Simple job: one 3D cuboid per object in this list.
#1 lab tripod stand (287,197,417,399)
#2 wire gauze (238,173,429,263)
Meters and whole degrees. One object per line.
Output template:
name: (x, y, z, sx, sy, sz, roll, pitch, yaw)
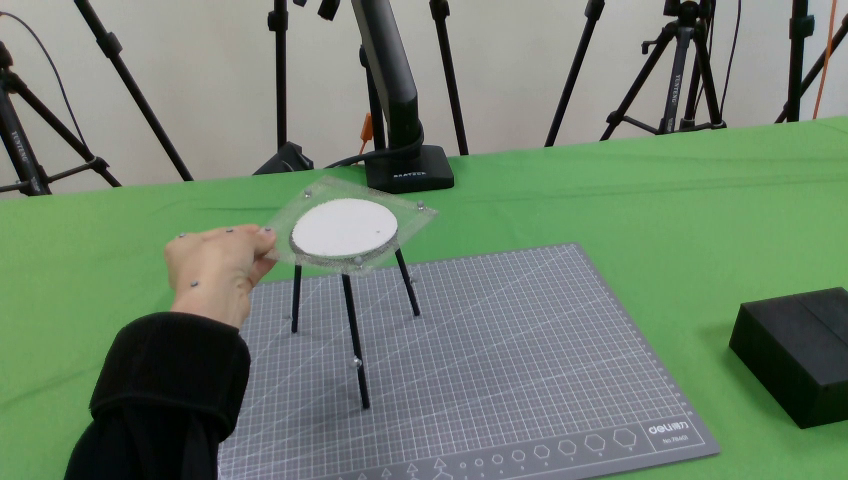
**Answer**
lab tripod stand: (-0.063, 0.042, 0.532, 0.148, 0.132, 0.147, 0, 35, 0)
wire gauze: (-0.064, -0.024, 0.482, 0.125, 0.011, 0.120, 9, 31, 3)
